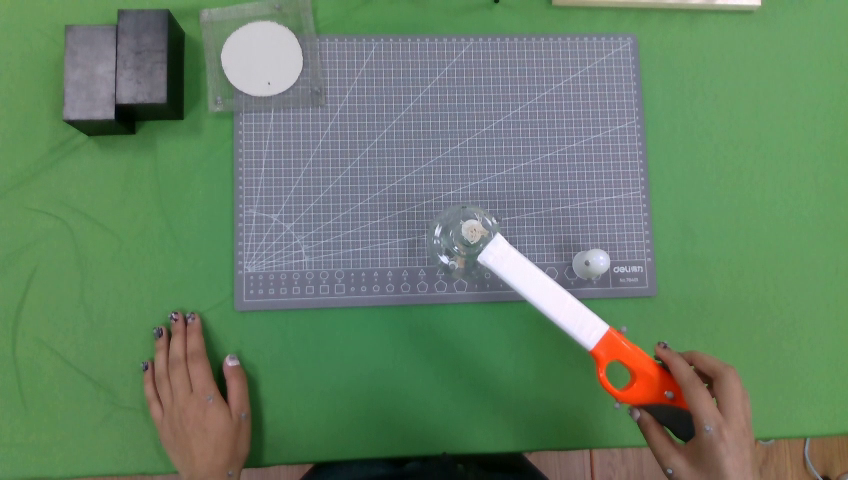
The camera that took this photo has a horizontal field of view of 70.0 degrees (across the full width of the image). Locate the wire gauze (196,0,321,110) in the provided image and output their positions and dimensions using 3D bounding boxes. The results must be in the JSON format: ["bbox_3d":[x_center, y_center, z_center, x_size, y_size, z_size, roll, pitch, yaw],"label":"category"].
[{"bbox_3d":[-0.180,-0.203,0.656,0.125,0.011,0.121,-7,83,-4],"label":"wire gauze"}]

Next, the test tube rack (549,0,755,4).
[{"bbox_3d":[0.264,-0.312,0.663,0.242,0.085,0.066,-1,83,-4],"label":"test tube rack"}]

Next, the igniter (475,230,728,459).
[{"bbox_3d":[0.158,0.091,0.534,0.276,0.025,0.057,40,86,2],"label":"igniter"}]

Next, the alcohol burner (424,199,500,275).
[{"bbox_3d":[0.040,-0.006,0.597,0.078,0.119,0.077,1,81,-5],"label":"alcohol burner"}]

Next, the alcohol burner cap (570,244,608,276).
[{"bbox_3d":[0.176,0.020,0.639,0.034,0.048,0.033,0,82,-2],"label":"alcohol burner cap"}]
